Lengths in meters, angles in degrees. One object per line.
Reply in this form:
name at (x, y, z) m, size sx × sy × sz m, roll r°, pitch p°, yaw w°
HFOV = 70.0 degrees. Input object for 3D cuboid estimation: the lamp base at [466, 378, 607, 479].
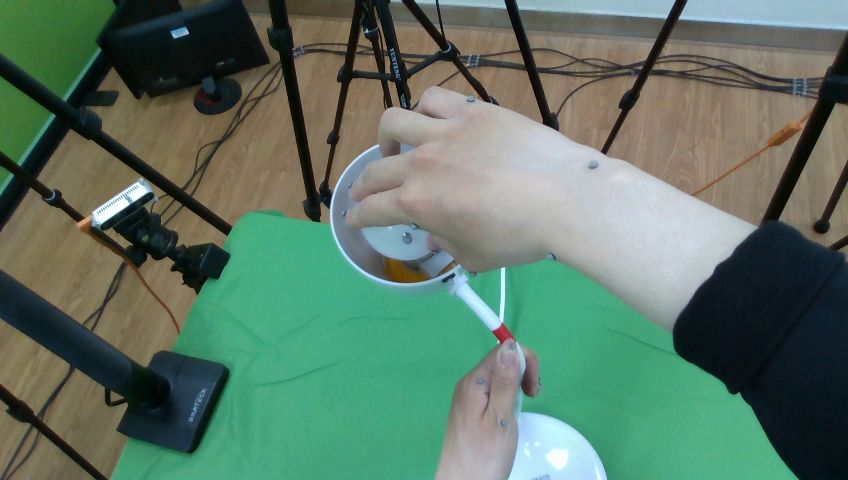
lamp base at (0.112, 0.227, 0.640) m, size 0.161 × 0.182 × 0.177 m, roll -26°, pitch 57°, yaw -7°

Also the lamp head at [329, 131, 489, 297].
lamp head at (-0.004, -0.006, 0.468) m, size 0.112 × 0.124 × 0.111 m, roll -3°, pitch 68°, yaw 7°

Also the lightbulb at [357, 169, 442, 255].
lightbulb at (-0.014, -0.014, 0.445) m, size 0.059 × 0.108 × 0.059 m, roll -1°, pitch 76°, yaw 6°
